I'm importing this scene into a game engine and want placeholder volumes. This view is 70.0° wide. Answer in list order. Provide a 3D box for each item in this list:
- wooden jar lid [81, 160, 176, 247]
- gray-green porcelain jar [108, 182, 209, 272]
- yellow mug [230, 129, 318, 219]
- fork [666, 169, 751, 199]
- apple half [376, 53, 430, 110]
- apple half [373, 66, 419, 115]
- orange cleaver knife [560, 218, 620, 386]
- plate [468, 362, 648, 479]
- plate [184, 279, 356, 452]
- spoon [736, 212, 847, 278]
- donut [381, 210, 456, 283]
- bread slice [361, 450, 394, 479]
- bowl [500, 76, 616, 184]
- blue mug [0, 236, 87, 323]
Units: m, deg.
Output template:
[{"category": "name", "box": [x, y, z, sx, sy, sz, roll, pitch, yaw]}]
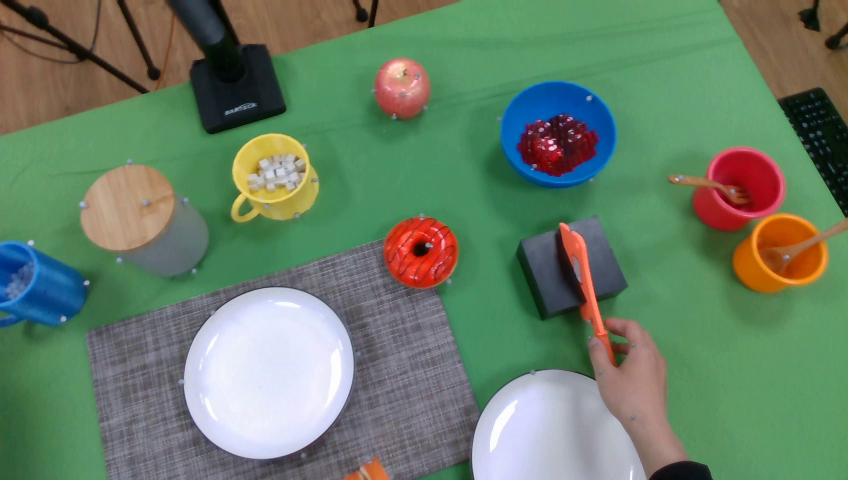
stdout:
[{"category": "wooden jar lid", "box": [-0.341, -0.041, 0.705, 0.108, 0.021, 0.107, -1, 70, 2]}, {"category": "gray-green porcelain jar", "box": [-0.339, -0.021, 0.764, 0.106, 0.127, 0.105, 0, 72, 1]}, {"category": "yellow mug", "box": [-0.209, -0.079, 0.813, 0.099, 0.064, 0.130, 39, 78, 12]}, {"category": "fork", "box": [0.359, -0.072, 0.758, 0.209, 0.018, 0.028, 4, 67, -42]}, {"category": "apple half", "box": [-0.022, -0.227, 0.853, 0.080, 0.075, 0.053, 36, 71, 16]}, {"category": "apple half", "box": [-0.046, -0.198, 0.842, 0.081, 0.082, 0.032, 37, 72, 12]}, {"category": "orange cleaver knife", "box": [0.203, 0.075, 0.747, 0.012, 0.077, 0.212, -17, 97, -3]}, {"category": "plate", "box": [0.155, 0.251, 0.715, 0.209, 0.038, 0.208, 0, 72, 2]}, {"category": "plate", "box": [-0.186, 0.153, 0.749, 0.208, 0.039, 0.206, 0, 72, 1]}, {"category": "spoon", "box": [0.475, -0.007, 0.735, 0.022, 0.194, 0.041, 0, 61, -46]}, {"category": "donut", "box": [-0.007, 0.008, 0.788, 0.099, 0.048, 0.098, 0, 73, 0]}, {"category": "bread slice", "box": [-0.031, 0.267, 0.616, 0.018, 0.135, 0.106, -30, 70, -18]}, {"category": "bowl", "box": [0.174, -0.135, 0.817, 0.151, 0.077, 0.150, 0, 72, 1]}, {"category": "blue mug", "box": [-0.501, 0.061, 0.751, 0.116, 0.106, 0.082, -42, 76, -11]}]
